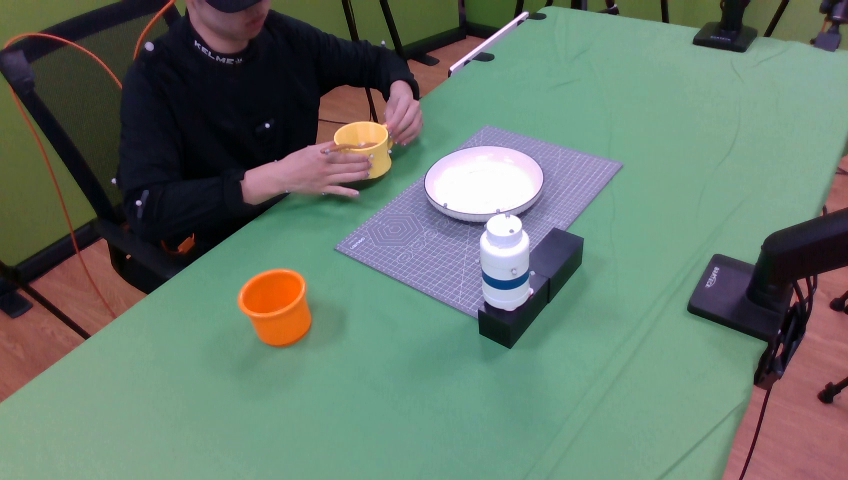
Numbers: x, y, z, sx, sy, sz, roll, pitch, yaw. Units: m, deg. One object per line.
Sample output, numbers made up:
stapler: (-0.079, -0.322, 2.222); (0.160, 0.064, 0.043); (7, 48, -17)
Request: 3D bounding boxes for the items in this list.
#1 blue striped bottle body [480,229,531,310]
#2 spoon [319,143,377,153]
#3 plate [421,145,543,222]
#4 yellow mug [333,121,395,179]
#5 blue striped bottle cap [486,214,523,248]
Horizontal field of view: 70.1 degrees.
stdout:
blue striped bottle body: (0.104, 0.027, 0.769); (0.063, 0.121, 0.063); (-4, 40, 4)
spoon: (-0.132, -0.162, 1.059); (0.041, 0.021, 0.194); (11, 11, 20)
plate: (0.101, -0.094, 1.048); (0.207, 0.039, 0.206); (-4, 41, 4)
yellow mug: (-0.103, -0.174, 1.120); (0.099, 0.064, 0.131); (31, 50, 32)
blue striped bottle cap: (0.098, -0.011, 0.735); (0.044, 0.021, 0.044); (-3, 38, 3)
